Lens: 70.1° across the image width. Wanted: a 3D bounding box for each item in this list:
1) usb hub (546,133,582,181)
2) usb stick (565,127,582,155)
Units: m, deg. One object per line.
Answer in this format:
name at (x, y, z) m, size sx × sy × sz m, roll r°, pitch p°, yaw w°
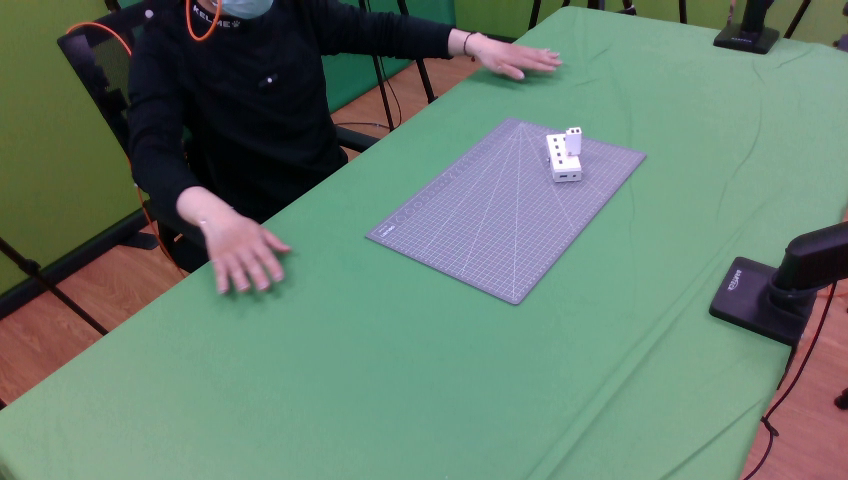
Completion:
usb hub at (0.255, -0.153, 1.103) m, size 0.049 × 0.025 × 0.124 m, roll -3°, pitch 41°, yaw 5°
usb stick at (0.266, -0.170, 1.077) m, size 0.027 × 0.059 × 0.021 m, roll -3°, pitch 40°, yaw 2°
